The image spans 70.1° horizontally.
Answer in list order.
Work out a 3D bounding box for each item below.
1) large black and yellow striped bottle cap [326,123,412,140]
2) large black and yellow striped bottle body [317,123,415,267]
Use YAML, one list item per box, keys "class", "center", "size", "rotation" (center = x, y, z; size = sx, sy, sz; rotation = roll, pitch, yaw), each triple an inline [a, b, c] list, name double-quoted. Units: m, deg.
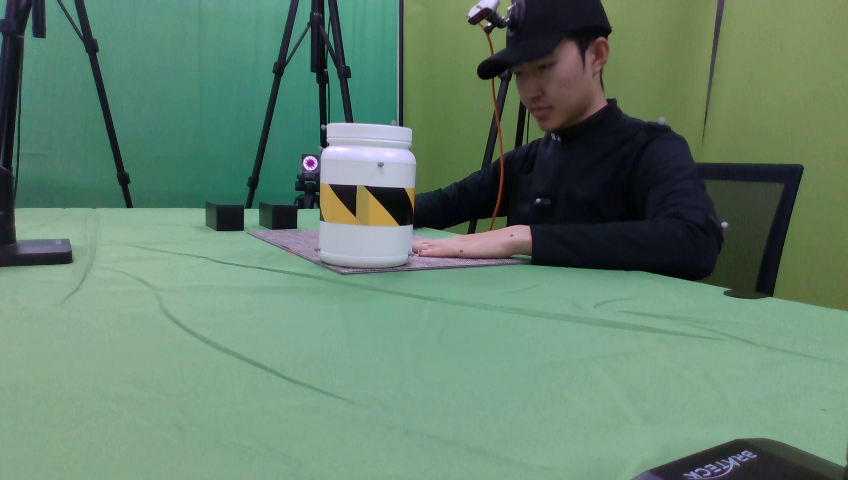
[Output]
- class: "large black and yellow striped bottle cap"
  center: [-0.074, -0.145, 0.812]
  size: [0.115, 0.019, 0.115]
  rotation: [1, 7, 0]
- class: "large black and yellow striped bottle body"
  center: [-0.078, -0.063, 0.824]
  size: [0.131, 0.184, 0.130]
  rotation: [2, 7, 0]
